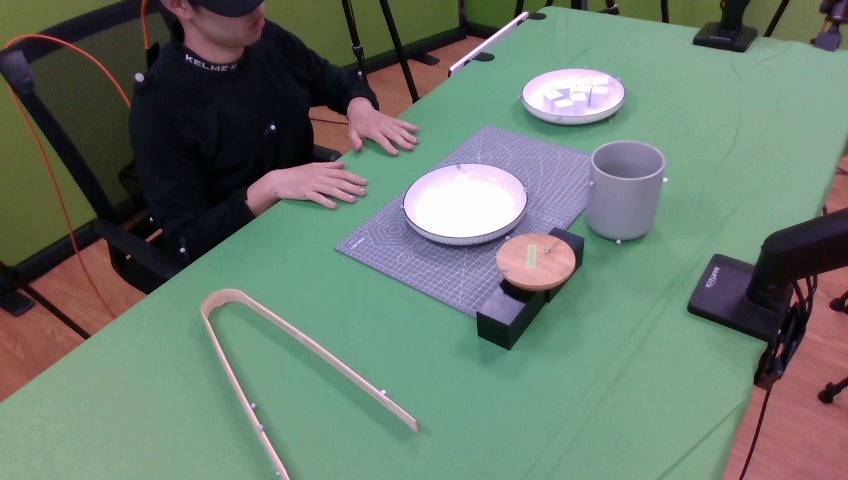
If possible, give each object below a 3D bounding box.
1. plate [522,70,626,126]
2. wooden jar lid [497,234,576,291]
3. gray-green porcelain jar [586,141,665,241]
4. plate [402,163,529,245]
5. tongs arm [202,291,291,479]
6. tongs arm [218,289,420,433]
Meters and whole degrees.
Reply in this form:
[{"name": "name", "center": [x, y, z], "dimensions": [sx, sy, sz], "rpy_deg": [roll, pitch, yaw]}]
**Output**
[{"name": "plate", "center": [0.308, -0.289, 1.251], "dimensions": [0.207, 0.039, 0.206], "rpy_deg": [-4, 40, 4]}, {"name": "wooden jar lid", "center": [0.155, 0.032, 0.834], "dimensions": [0.108, 0.021, 0.108], "rpy_deg": [-5, 40, 5]}, {"name": "gray-green porcelain jar", "center": [0.305, -0.070, 0.927], "dimensions": [0.106, 0.127, 0.105], "rpy_deg": [-4, 41, 4]}, {"name": "plate", "center": [0.069, -0.056, 1.008], "dimensions": [0.209, 0.038, 0.208], "rpy_deg": [-4, 40, 4]}, {"name": "tongs arm", "center": [-0.216, 0.187, 0.772], "dimensions": [0.051, 0.026, 0.381], "rpy_deg": [-28, 44, -24]}, {"name": "tongs arm", "center": [-0.153, 0.150, 0.811], "dimensions": [0.384, 0.028, 0.028], "rpy_deg": [26, 53, 33]}]
